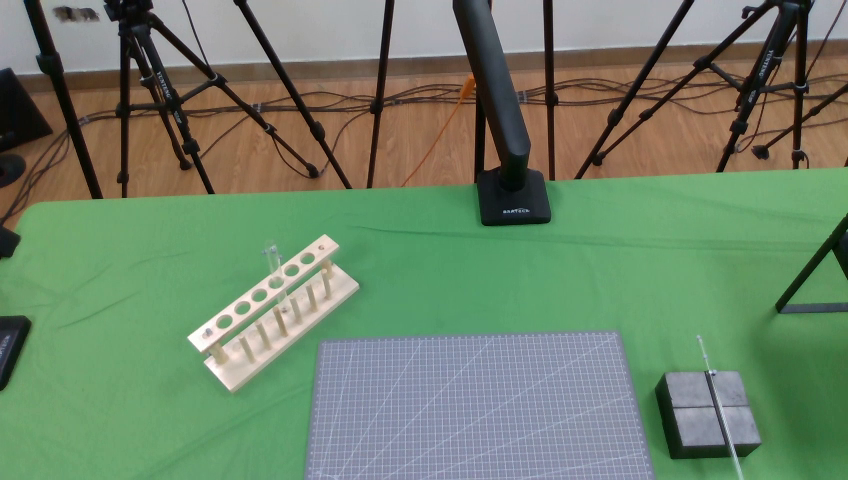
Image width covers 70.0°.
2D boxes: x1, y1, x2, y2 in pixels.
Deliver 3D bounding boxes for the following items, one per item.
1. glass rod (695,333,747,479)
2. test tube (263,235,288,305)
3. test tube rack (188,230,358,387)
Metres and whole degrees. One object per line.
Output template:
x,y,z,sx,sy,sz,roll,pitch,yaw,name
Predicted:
0.380,0.208,0.779,0.008,0.008,0.197,-2,53,0,glass rod
-0.211,0.046,0.867,0.017,0.151,0.017,2,49,-2,test tube
-0.212,0.097,0.891,0.066,0.086,0.242,37,62,26,test tube rack
